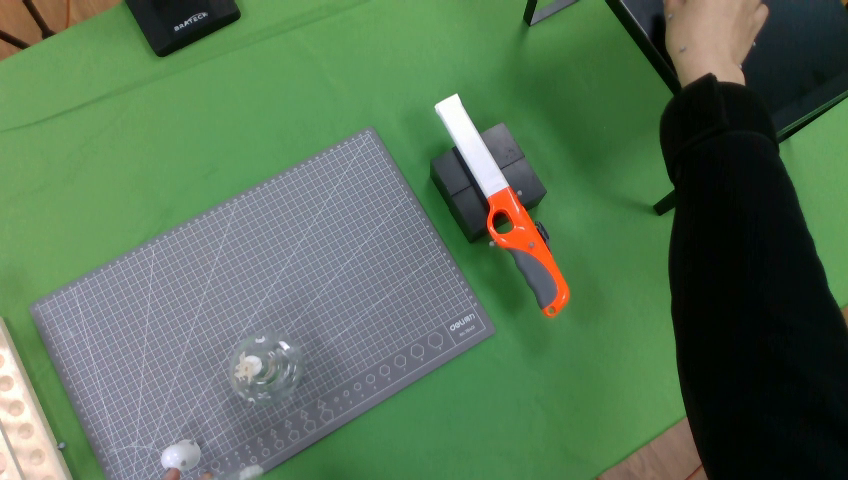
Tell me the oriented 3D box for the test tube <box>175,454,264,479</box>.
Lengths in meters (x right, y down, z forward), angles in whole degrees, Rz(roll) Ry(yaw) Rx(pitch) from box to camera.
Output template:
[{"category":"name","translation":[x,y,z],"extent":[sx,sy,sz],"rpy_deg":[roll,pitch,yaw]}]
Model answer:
[{"category":"test tube","translation":[-0.173,0.201,0.523],"extent":[0.017,0.151,0.017],"rpy_deg":[-2,77,7]}]

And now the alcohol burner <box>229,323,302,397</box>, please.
[{"category":"alcohol burner","translation":[-0.170,0.125,0.633],"extent":[0.078,0.119,0.077],"rpy_deg":[0,79,-2]}]

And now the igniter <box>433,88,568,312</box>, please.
[{"category":"igniter","translation":[0.086,-0.048,0.680],"extent":[0.057,0.025,0.275],"rpy_deg":[-27,79,-1]}]

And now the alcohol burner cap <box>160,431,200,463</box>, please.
[{"category":"alcohol burner cap","translation":[-0.262,0.221,0.645],"extent":[0.034,0.048,0.033],"rpy_deg":[0,76,-2]}]

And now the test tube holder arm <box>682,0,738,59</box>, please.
[{"category":"test tube holder arm","translation":[0.252,-0.252,0.594],"extent":[0.013,0.015,0.177],"rpy_deg":[-21,77,-37]}]

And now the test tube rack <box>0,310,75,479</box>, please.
[{"category":"test tube rack","translation":[-0.451,0.187,0.627],"extent":[0.067,0.085,0.241],"rpy_deg":[-29,80,-8]}]
